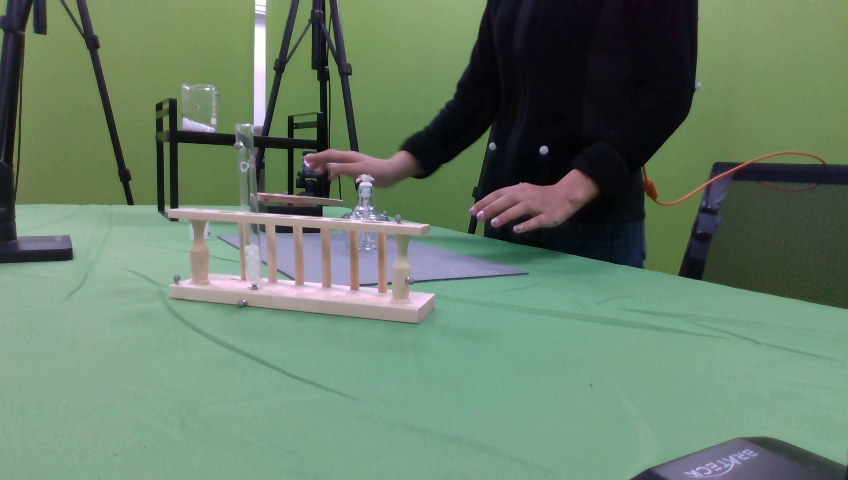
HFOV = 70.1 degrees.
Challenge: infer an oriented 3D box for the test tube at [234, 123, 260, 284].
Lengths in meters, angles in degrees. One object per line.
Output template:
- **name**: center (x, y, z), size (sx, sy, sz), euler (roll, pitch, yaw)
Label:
- **test tube**: center (-0.164, -0.032, 0.562), size (0.017, 0.150, 0.017), euler (-1, 8, 0)

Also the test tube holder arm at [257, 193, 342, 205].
- **test tube holder arm**: center (-0.238, -0.079, 1.175), size (0.179, 0.015, 0.013), euler (1, 23, -41)

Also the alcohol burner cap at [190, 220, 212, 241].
- **alcohol burner cap**: center (-0.365, -0.023, 0.988), size (0.034, 0.048, 0.034), euler (2, 7, 0)

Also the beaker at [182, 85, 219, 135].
- **beaker**: center (-0.479, -0.276, 1.291), size (0.074, 0.100, 0.084), euler (2, 8, -1)

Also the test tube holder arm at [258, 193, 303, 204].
- **test tube holder arm**: center (-0.270, -0.078, 1.141), size (0.088, 0.015, 0.010), euler (1, 23, -39)

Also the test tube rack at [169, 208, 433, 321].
- **test tube rack**: center (-0.115, 0.018, 0.574), size (0.242, 0.085, 0.067), euler (4, 8, 14)

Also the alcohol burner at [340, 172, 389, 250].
- **alcohol burner**: center (-0.093, -0.045, 0.939), size (0.078, 0.119, 0.078), euler (0, 7, 0)
